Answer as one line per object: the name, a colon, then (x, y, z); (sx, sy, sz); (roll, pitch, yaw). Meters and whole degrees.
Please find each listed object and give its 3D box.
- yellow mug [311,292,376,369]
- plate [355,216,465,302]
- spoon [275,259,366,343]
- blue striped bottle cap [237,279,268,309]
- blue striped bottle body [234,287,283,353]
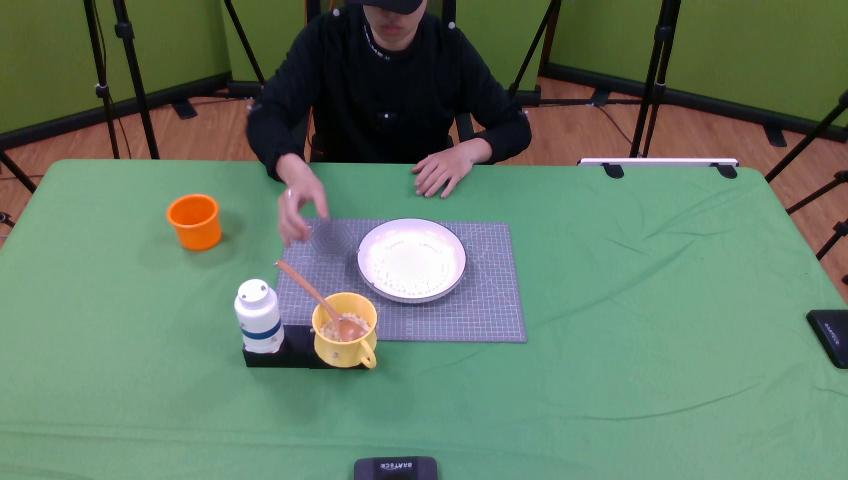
yellow mug: (-0.115, 0.149, 0.945); (0.100, 0.064, 0.130); (-30, 57, -28)
plate: (-0.027, 0.039, 1.144); (0.208, 0.039, 0.206); (2, 46, -2)
spoon: (-0.161, 0.098, 0.946); (0.194, 0.021, 0.041); (48, 56, -5)
blue striped bottle cap: (-0.252, 0.079, 0.892); (0.044, 0.021, 0.044); (4, 47, -4)
blue striped bottle body: (-0.254, 0.114, 0.929); (0.063, 0.121, 0.062); (3, 46, -2)
